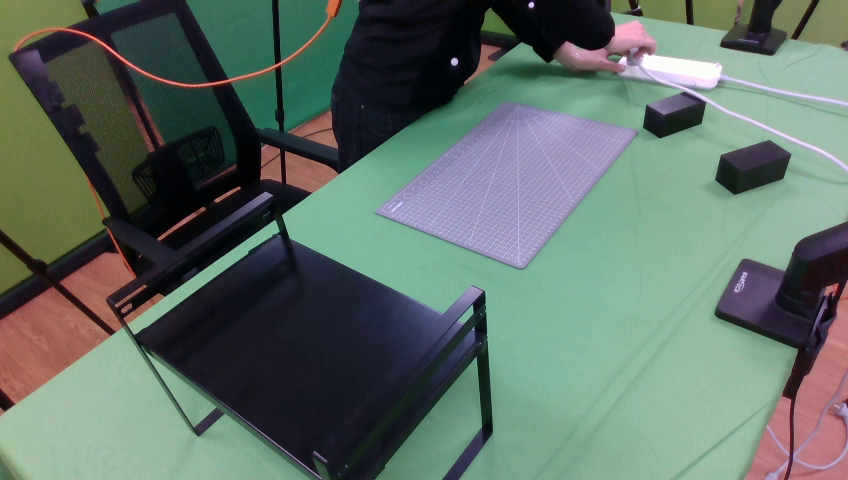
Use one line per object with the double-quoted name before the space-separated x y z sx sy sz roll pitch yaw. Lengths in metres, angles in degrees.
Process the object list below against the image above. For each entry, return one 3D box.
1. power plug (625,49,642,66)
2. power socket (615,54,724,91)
"power plug" 0.449 -0.387 1.318 0.035 0.053 0.073 26 51 36
"power socket" 0.530 -0.367 1.317 0.225 0.033 0.072 18 47 27
